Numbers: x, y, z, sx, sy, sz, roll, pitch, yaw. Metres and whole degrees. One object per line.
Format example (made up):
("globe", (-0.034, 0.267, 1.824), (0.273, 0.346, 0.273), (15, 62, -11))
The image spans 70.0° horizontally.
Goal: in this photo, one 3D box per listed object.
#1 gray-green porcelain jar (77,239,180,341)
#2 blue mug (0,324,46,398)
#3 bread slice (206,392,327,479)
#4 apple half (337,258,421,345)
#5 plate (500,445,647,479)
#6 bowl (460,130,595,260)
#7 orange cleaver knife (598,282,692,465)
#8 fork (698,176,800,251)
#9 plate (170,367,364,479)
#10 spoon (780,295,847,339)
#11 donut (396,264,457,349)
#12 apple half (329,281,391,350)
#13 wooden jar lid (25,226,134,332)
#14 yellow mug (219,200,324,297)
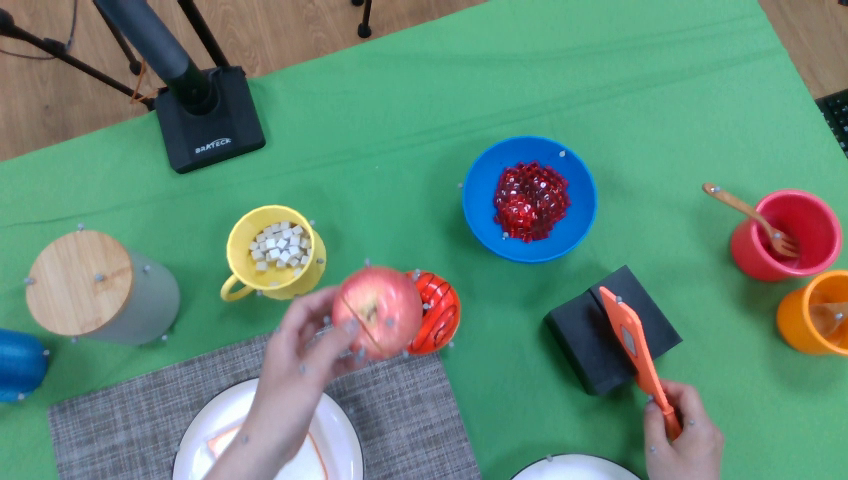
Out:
("gray-green porcelain jar", (-0.341, 0.056, 0.671), (0.106, 0.127, 0.105), (0, 75, 2))
("blue mug", (-0.502, 0.142, 0.665), (0.082, 0.106, 0.116), (44, 81, 12))
("bread slice", (-0.160, 0.247, 0.659), (0.107, 0.018, 0.133), (-30, 77, -5))
("apple half", (-0.032, 0.048, 0.546), (0.053, 0.075, 0.080), (-40, 75, 4))
("plate", (0.157, 0.322, 0.632), (0.209, 0.038, 0.208), (-1, 76, 3))
("bowl", (0.116, -0.043, 0.706), (0.151, 0.077, 0.150), (0, 76, 2))
("orange cleaver knife", (0.231, 0.140, 0.640), (0.012, 0.077, 0.212), (-27, 104, -4))
("fork", (0.357, -0.027, 0.657), (0.209, 0.018, 0.028), (23, 72, -35))
("plate", (-0.167, 0.245, 0.659), (0.207, 0.039, 0.206), (0, 76, 2))
("spoon", (0.471, 0.053, 0.634), (0.022, 0.194, 0.041), (-9, 67, -47))
("donut", (-0.010, 0.076, 0.694), (0.099, 0.048, 0.098), (0, 77, 2))
("apple half", (-0.061, 0.074, 0.550), (0.033, 0.081, 0.081), (-40, 77, 5))
("wooden jar lid", (-0.344, 0.039, 0.611), (0.108, 0.021, 0.108), (-1, 74, 3))
("yellow mug", (-0.185, 0.021, 0.706), (0.131, 0.064, 0.099), (-42, 79, -8))
